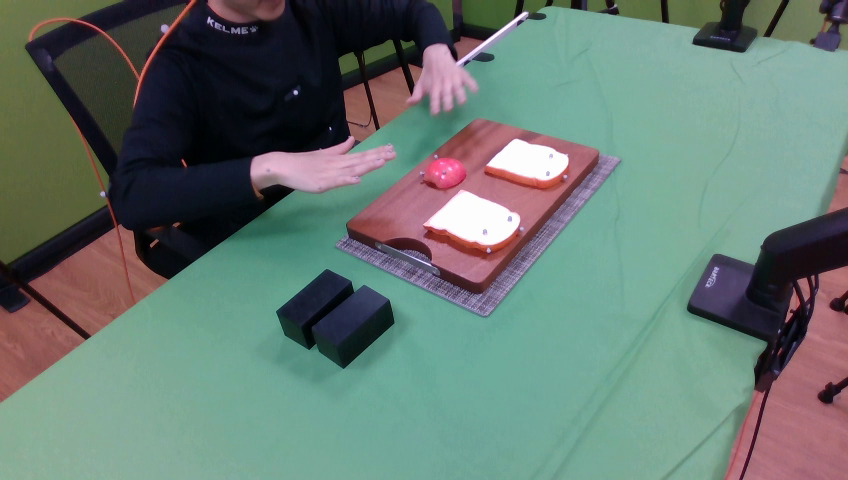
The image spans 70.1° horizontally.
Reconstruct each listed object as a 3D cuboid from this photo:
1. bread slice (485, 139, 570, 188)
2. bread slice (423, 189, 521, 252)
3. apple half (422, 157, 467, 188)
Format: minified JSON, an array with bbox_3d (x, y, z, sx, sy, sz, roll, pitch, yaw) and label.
[{"bbox_3d":[0.189,-0.135,1.059,0.130,0.019,0.105,21,49,30],"label":"bread slice"},{"bbox_3d":[0.083,-0.029,0.949,0.133,0.018,0.107,22,48,28],"label":"bread slice"},{"bbox_3d":[0.035,-0.128,1.061,0.081,0.033,0.081,-5,42,5],"label":"apple half"}]
